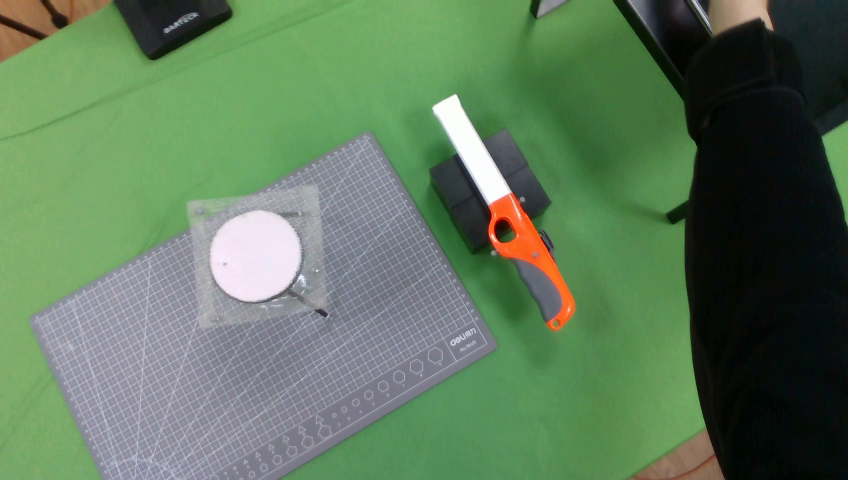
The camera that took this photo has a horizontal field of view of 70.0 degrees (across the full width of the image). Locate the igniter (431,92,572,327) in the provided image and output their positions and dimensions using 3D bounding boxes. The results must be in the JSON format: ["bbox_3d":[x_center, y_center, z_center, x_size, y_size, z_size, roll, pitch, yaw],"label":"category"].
[{"bbox_3d":[0.084,-0.036,0.650,0.057,0.025,0.275,-28,80,-1],"label":"igniter"}]

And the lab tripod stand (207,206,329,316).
[{"bbox_3d":[-0.159,0.019,0.634,0.148,0.132,0.147,0,79,2],"label":"lab tripod stand"}]

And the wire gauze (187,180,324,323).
[{"bbox_3d":[-0.157,0.009,0.568,0.121,0.011,0.124,-7,80,-1],"label":"wire gauze"}]

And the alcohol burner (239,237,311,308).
[{"bbox_3d":[-0.162,0.033,0.642,0.078,0.119,0.077,0,82,1],"label":"alcohol burner"}]

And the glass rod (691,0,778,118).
[{"bbox_3d":[0.263,-0.195,0.551,0.008,0.008,0.199,-30,83,-4],"label":"glass rod"}]
